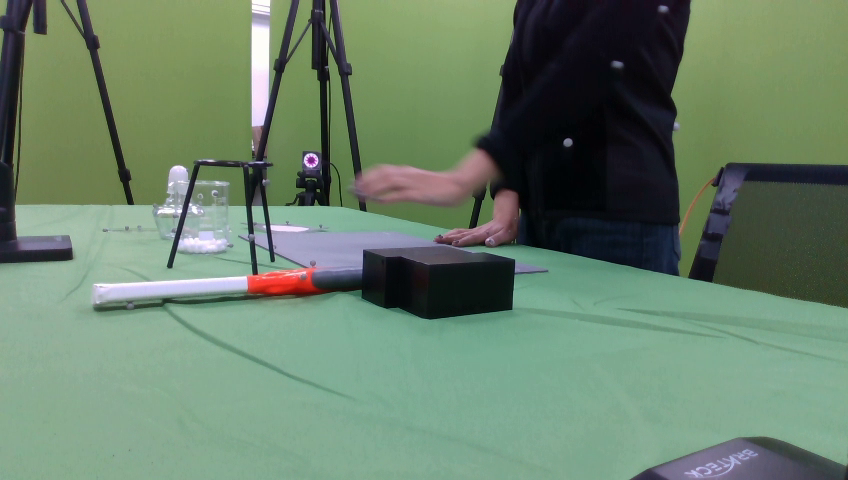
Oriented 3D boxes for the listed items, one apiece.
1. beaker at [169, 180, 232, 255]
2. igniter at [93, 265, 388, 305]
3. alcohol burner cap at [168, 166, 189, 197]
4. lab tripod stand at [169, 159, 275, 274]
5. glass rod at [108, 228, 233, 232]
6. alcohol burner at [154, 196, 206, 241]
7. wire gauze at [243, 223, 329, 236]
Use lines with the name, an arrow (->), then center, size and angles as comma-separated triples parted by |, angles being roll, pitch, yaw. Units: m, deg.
beaker -> -0.313, -0.032, 0.850 | 0.084, 0.100, 0.073 | -5, 10, -41
igniter -> -0.164, 0.042, 0.589 | 0.278, 0.025, 0.057 | -2, -6, -31
alcohol burner cap -> -0.392, -0.095, 0.970 | 0.034, 0.048, 0.034 | 7, 7, -1
lab tripod stand -> -0.230, -0.030, 0.724 | 0.148, 0.131, 0.148 | 1, 9, 0
glass rod -> -0.437, -0.019, 1.054 | 0.201, 0.008, 0.008 | -1, 8, -27
alcohol burner -> -0.393, -0.059, 0.974 | 0.078, 0.119, 0.078 | 1, 8, 0
wire gauze -> -0.266, -0.024, 1.156 | 0.124, 0.011, 0.122 | 12, 12, 40
